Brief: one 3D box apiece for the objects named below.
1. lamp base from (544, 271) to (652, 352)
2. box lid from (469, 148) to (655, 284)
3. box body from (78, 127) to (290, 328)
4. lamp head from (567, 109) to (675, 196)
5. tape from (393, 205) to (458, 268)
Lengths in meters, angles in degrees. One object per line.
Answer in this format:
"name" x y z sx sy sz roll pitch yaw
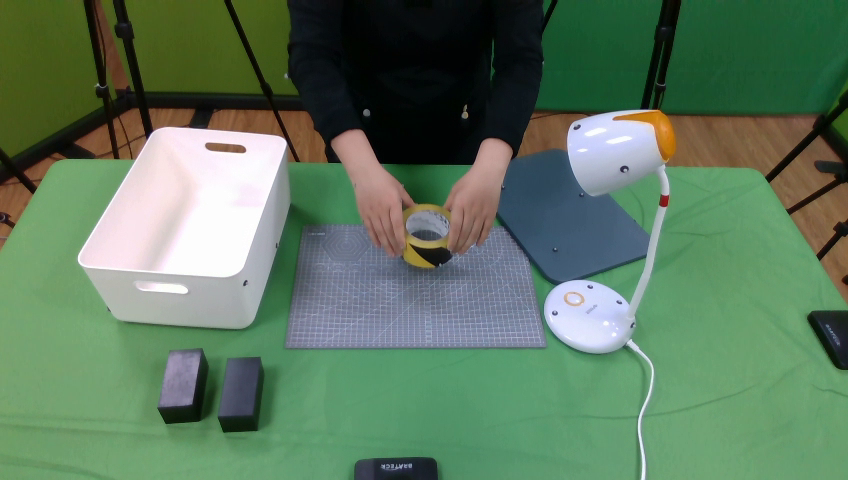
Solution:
"lamp base" 0.310 0.086 1.029 0.178 0.181 0.160 32 52 21
"box lid" 0.285 -0.064 1.289 0.263 0.015 0.369 -16 49 -19
"box body" -0.400 -0.026 1.095 0.254 0.161 0.362 4 46 0
"lamp head" 0.272 -0.123 0.818 0.122 0.113 0.112 -9 35 37
"tape" 0.005 -0.007 1.085 0.117 0.053 0.116 2 47 -2
